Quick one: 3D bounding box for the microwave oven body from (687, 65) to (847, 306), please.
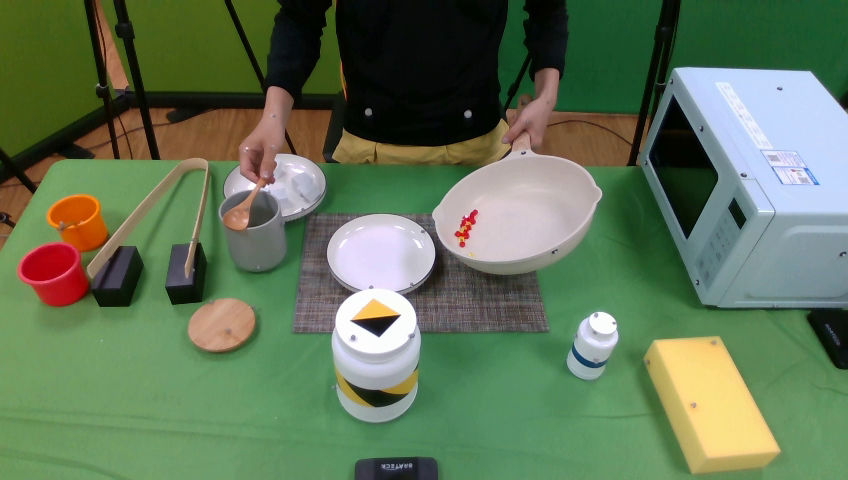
[{"bbox_3d":[0.669,-0.111,1.176,0.326,0.261,0.439,0,46,-3],"label":"microwave oven body"}]

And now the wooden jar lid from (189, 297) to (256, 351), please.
[{"bbox_3d":[-0.342,0.145,1.033,0.108,0.021,0.107,3,45,-2],"label":"wooden jar lid"}]

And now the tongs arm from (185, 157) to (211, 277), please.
[{"bbox_3d":[-0.446,-0.058,1.168,0.051,0.026,0.382,-5,37,-6],"label":"tongs arm"}]

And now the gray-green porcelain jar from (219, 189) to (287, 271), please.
[{"bbox_3d":[-0.310,-0.014,1.113,0.106,0.127,0.105,2,46,-2],"label":"gray-green porcelain jar"}]

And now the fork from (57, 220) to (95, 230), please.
[{"bbox_3d":[-0.624,-0.027,1.086,0.028,0.207,0.018,-2,91,-17],"label":"fork"}]

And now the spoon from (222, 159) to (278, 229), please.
[{"bbox_3d":[-0.301,-0.085,1.076,0.042,0.022,0.193,28,50,-8],"label":"spoon"}]

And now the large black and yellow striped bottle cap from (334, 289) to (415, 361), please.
[{"bbox_3d":[-0.069,0.117,0.850,0.115,0.019,0.114,2,45,-2],"label":"large black and yellow striped bottle cap"}]

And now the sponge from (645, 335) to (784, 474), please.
[{"bbox_3d":[0.449,0.253,0.956,0.118,0.061,0.205,-4,46,-7],"label":"sponge"}]

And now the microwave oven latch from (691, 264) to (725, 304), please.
[{"bbox_3d":[0.521,0.081,1.116,0.030,0.029,0.078,0,46,-3],"label":"microwave oven latch"}]

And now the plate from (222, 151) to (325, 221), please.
[{"bbox_3d":[-0.310,-0.106,1.263,0.208,0.039,0.206,2,47,-2],"label":"plate"}]

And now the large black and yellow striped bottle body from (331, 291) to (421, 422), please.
[{"bbox_3d":[-0.071,0.175,0.911,0.131,0.185,0.130,2,47,-2],"label":"large black and yellow striped bottle body"}]

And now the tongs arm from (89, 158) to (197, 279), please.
[{"bbox_3d":[-0.530,-0.057,1.164,0.028,0.028,0.385,1,36,8],"label":"tongs arm"}]

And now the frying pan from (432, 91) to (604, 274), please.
[{"bbox_3d":[0.185,-0.127,1.152,0.306,0.103,0.485,-4,50,21],"label":"frying pan"}]

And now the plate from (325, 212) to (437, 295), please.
[{"bbox_3d":[-0.081,0.030,1.143,0.209,0.038,0.208,3,46,-2],"label":"plate"}]

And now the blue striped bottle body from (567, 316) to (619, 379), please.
[{"bbox_3d":[0.276,0.168,0.984,0.063,0.121,0.062,2,46,-2],"label":"blue striped bottle body"}]

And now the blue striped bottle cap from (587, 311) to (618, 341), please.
[{"bbox_3d":[0.279,0.134,0.946,0.044,0.021,0.044,2,45,-2],"label":"blue striped bottle cap"}]

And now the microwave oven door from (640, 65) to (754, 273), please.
[{"bbox_3d":[0.523,-0.147,1.193,0.039,0.245,0.353,0,47,-3],"label":"microwave oven door"}]
